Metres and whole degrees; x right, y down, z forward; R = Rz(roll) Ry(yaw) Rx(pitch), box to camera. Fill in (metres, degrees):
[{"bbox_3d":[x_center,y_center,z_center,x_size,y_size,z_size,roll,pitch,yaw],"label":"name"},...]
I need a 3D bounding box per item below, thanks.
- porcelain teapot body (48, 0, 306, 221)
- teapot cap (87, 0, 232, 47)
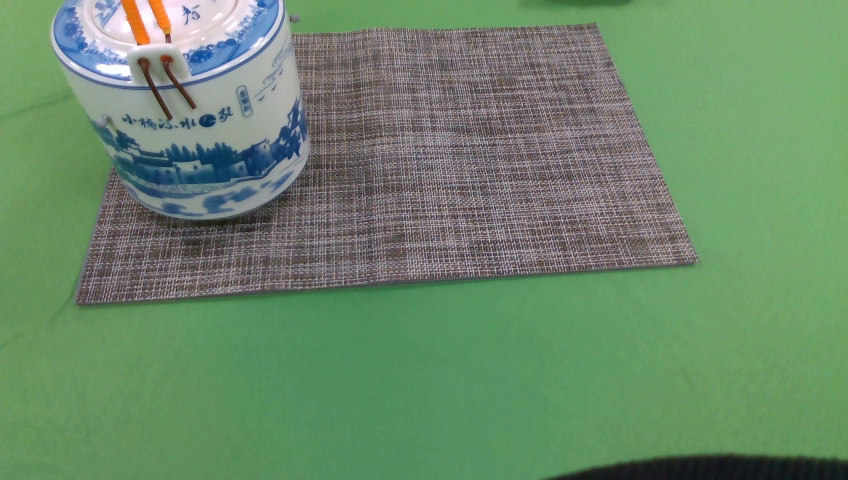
[{"bbox_3d":[-0.169,-0.149,0.422,0.145,0.227,0.203,-9,54,-8],"label":"porcelain teapot body"},{"bbox_3d":[-0.163,-0.149,0.373,0.085,0.044,0.084,0,52,0],"label":"teapot cap"}]
